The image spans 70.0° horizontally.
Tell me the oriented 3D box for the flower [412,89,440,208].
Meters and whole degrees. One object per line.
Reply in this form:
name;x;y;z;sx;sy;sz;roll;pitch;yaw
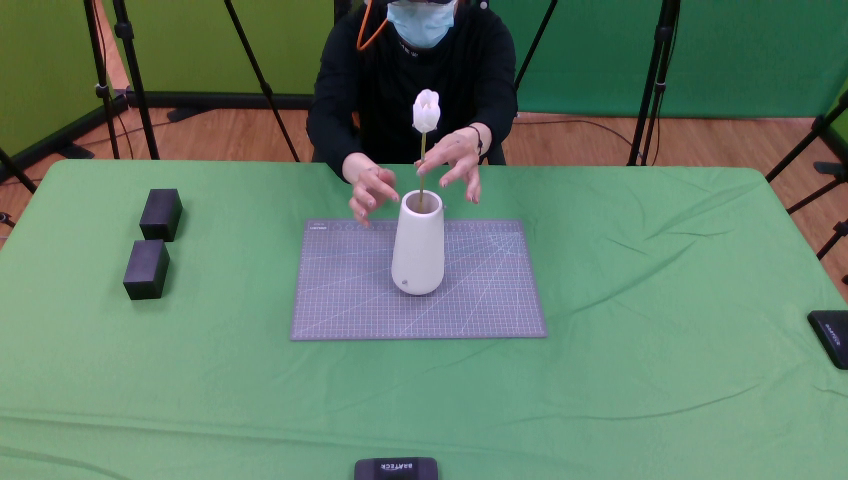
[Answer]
flower;-0.006;-0.091;0.981;0.038;0.363;0.044;-12;55;-13

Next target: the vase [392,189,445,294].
vase;-0.007;0.006;1.060;0.098;0.201;0.097;2;48;-2
